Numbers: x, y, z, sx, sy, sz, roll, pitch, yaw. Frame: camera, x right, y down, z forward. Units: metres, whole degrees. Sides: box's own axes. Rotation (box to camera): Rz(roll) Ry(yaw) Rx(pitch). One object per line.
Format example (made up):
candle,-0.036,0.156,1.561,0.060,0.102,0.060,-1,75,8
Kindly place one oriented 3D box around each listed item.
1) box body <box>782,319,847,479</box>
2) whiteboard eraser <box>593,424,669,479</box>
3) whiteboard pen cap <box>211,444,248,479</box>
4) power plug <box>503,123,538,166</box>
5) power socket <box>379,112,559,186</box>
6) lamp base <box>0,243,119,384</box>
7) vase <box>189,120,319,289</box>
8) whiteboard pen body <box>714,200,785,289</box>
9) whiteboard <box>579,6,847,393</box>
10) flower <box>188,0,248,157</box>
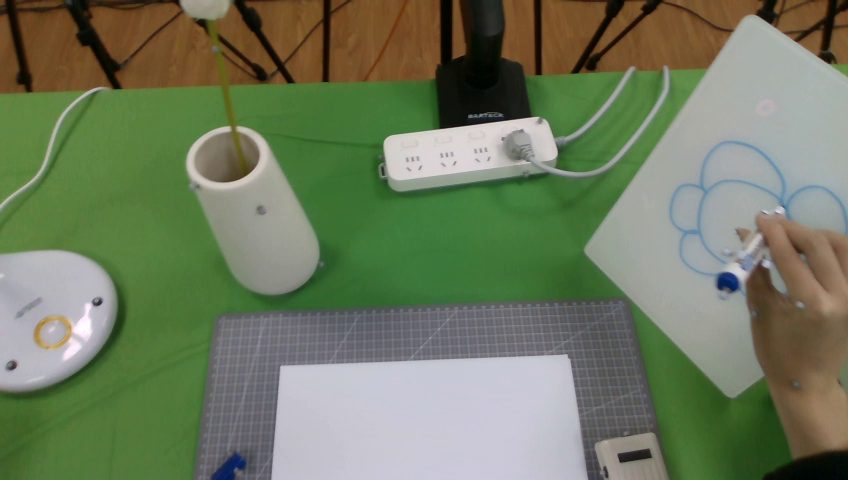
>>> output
box body,0.485,0.235,0.481,0.254,0.161,0.360,-3,61,-2
whiteboard eraser,0.195,0.228,0.549,0.056,0.042,0.111,-7,61,-6
whiteboard pen cap,-0.184,0.209,0.573,0.018,0.018,0.033,34,67,18
power plug,0.112,-0.106,0.716,0.035,0.053,0.072,2,62,1
power socket,0.057,-0.113,0.746,0.227,0.033,0.071,-7,62,-5
lamp base,-0.420,0.031,0.580,0.178,0.182,0.160,27,64,17
vase,-0.167,-0.029,0.604,0.098,0.201,0.097,-1,60,1
whiteboard pen body,0.243,-0.002,0.442,0.017,0.017,0.141,40,47,20
whiteboard,0.334,-0.035,0.583,0.144,0.307,0.215,-22,61,-33
flower,-0.162,-0.085,0.541,0.038,0.365,0.043,-13,43,-15
